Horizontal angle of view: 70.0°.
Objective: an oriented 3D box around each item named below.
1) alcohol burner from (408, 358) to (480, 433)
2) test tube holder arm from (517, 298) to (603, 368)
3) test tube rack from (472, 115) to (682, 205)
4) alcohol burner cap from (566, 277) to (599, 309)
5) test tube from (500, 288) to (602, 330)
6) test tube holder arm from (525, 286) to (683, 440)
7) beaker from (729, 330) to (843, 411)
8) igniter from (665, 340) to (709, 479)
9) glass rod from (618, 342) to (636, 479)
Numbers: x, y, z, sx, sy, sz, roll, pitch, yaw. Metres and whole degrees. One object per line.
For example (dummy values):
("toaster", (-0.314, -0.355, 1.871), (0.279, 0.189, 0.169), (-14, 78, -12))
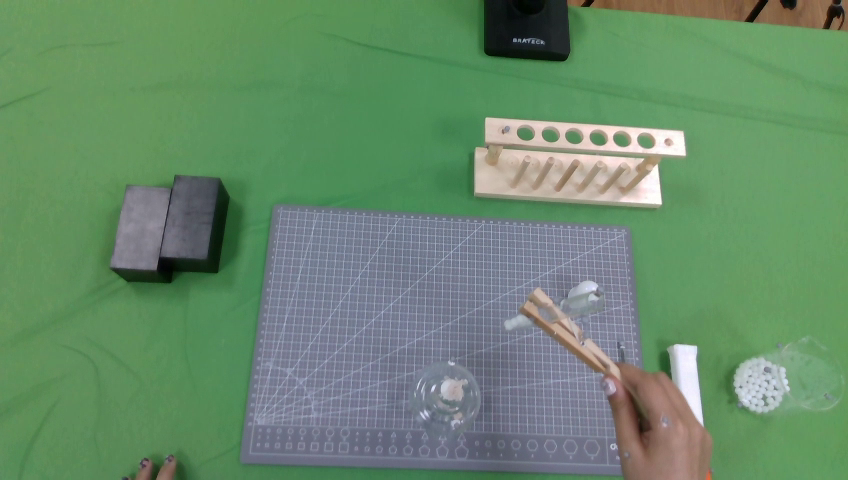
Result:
("alcohol burner", (0.022, 0.159, 0.630), (0.078, 0.120, 0.077), (2, 68, -4))
("test tube holder arm", (0.117, 0.080, 0.517), (0.088, 0.015, 0.010), (37, 70, -2))
("test tube rack", (0.186, -0.097, 0.755), (0.243, 0.085, 0.066), (3, 70, -4))
("alcohol burner cap", (0.191, 0.061, 0.720), (0.034, 0.048, 0.033), (2, 70, -5))
("test tube", (0.102, 0.061, 0.517), (0.017, 0.150, 0.017), (5, 74, -19))
("test tube holder arm", (0.154, 0.106, 0.519), (0.178, 0.015, 0.013), (43, 70, 0))
("beaker", (0.400, 0.150, 0.681), (0.074, 0.101, 0.083), (16, 69, 1))
("igniter", (0.297, 0.250, 0.674), (0.057, 0.025, 0.274), (7, 70, -13))
("glass rod", (0.231, 0.214, 0.687), (0.008, 0.008, 0.198), (3, 70, -5))
